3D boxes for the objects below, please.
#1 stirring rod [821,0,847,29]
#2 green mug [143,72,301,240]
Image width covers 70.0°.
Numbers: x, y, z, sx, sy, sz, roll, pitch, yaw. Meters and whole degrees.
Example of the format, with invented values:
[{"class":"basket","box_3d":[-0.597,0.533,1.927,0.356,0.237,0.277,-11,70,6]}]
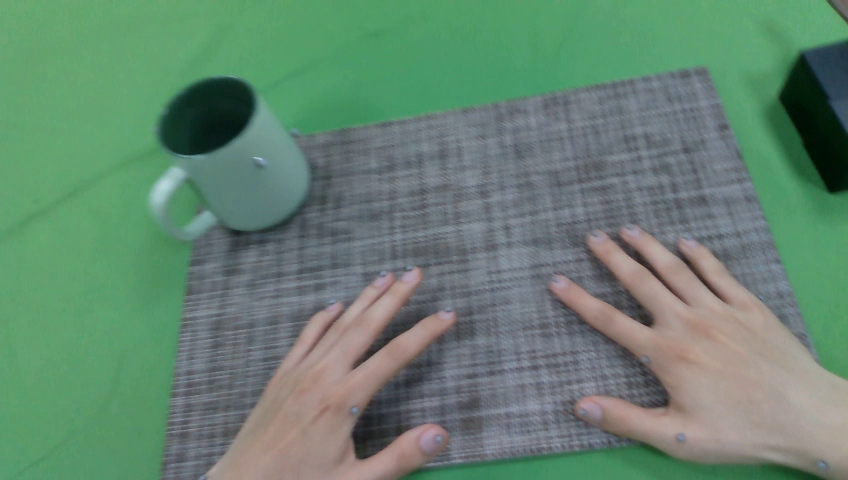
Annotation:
[{"class":"stirring rod","box_3d":[0.330,-0.128,0.429,0.014,0.006,0.174,-17,61,-3]},{"class":"green mug","box_3d":[-0.164,-0.055,0.477,0.092,0.106,0.125,28,71,22]}]
